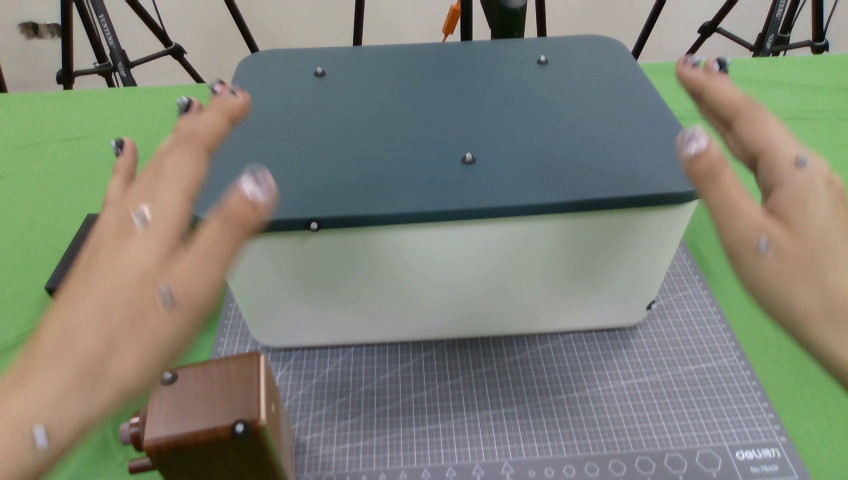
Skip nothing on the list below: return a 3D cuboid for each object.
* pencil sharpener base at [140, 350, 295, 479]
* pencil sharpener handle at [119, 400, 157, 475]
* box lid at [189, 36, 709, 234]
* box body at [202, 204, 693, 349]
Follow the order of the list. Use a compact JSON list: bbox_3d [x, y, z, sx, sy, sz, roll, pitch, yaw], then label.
[{"bbox_3d":[-0.133,0.133,0.403,0.077,0.108,0.060,-10,44,-7],"label":"pencil sharpener base"},{"bbox_3d":[-0.184,0.132,0.388,0.031,0.068,0.035,-10,47,-7],"label":"pencil sharpener handle"},{"bbox_3d":[0.012,-0.102,0.503,0.372,0.015,0.260,-3,42,-2],"label":"box lid"},{"bbox_3d":[0.017,-0.047,0.554,0.364,0.162,0.251,-3,43,-2],"label":"box body"}]
